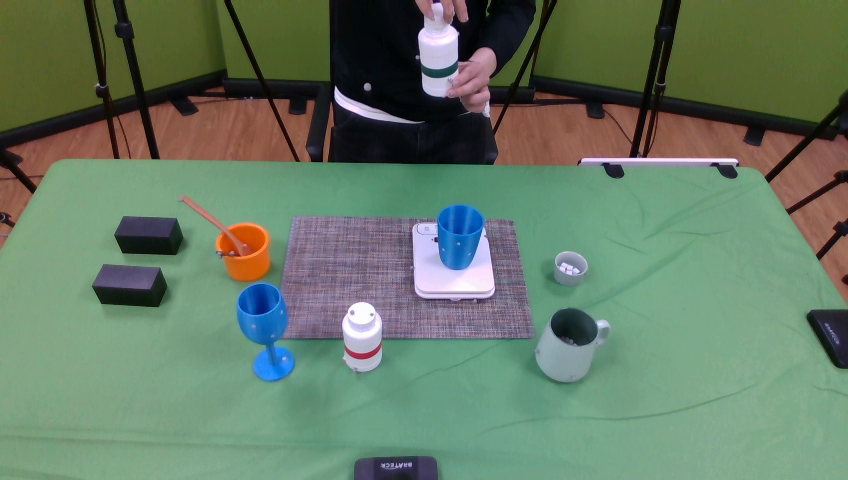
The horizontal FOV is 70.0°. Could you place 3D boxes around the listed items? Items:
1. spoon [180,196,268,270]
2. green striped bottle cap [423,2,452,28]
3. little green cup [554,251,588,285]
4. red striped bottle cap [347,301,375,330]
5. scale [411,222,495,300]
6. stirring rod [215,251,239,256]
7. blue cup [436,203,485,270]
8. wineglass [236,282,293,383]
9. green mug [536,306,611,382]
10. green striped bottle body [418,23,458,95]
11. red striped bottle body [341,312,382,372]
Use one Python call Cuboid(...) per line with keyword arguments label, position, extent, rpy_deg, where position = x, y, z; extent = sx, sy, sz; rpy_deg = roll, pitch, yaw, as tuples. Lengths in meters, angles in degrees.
Cuboid(label="spoon", position=(-0.360, -0.014, 1.094), extent=(0.021, 0.194, 0.041), rpy_deg=(-27, 26, 31))
Cuboid(label="green striped bottle cap", position=(0.021, -0.344, 0.926), extent=(0.044, 0.020, 0.044), rpy_deg=(-2, 51, 2))
Cuboid(label="little green cup", position=(0.277, 0.055, 1.151), extent=(0.061, 0.039, 0.061), rpy_deg=(1, 46, -1))
Cuboid(label="red striped bottle cap", position=(-0.097, 0.116, 0.934), extent=(0.044, 0.018, 0.044), rpy_deg=(3, 49, -3))
Cuboid(label="scale", position=(0.052, 0.031, 1.158), extent=(0.149, 0.032, 0.199), rpy_deg=(1, 46, -4))
Cuboid(label="stirring rod", position=(-0.339, 0.024, 1.059), extent=(0.014, 0.176, 0.006), rpy_deg=(16, 86, -6))
Cuboid(label="blue cup", position=(0.062, -0.001, 1.099), extent=(0.093, 0.101, 0.092), rpy_deg=(2, 44, -2))
Cuboid(label="wineglass", position=(-0.243, 0.143, 0.934), extent=(0.074, 0.173, 0.073), rpy_deg=(2, 46, -2))
Cuboid(label="green mug", position=(0.250, 0.167, 0.996), extent=(0.125, 0.105, 0.092), rpy_deg=(-15, 49, -18))
Cuboid(label="green striped bottle body", position=(0.023, -0.300, 0.978), extent=(0.063, 0.120, 0.063), rpy_deg=(-2, 49, 3))
Cuboid(label="red striped bottle body", position=(-0.100, 0.154, 0.972), extent=(0.063, 0.120, 0.062), rpy_deg=(2, 46, -1))
